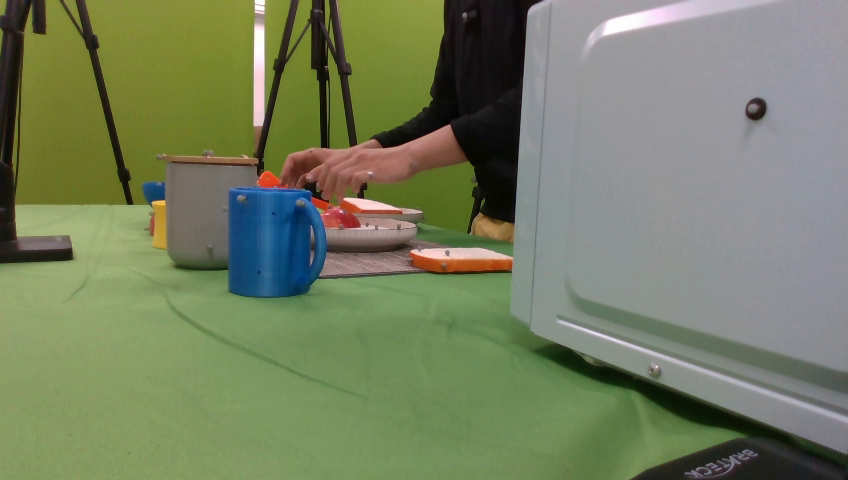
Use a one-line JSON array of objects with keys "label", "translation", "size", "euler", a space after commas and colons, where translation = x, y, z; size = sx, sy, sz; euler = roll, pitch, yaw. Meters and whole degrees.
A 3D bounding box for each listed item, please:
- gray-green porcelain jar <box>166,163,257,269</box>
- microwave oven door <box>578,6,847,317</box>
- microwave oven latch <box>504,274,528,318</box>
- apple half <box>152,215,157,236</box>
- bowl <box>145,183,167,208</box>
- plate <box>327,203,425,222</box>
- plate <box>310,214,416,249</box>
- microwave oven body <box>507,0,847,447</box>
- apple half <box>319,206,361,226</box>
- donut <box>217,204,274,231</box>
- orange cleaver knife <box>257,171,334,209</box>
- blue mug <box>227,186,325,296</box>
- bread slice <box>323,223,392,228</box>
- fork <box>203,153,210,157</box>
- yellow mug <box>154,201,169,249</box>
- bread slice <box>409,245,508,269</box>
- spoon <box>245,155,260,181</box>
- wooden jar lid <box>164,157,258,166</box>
[{"label": "gray-green porcelain jar", "translation": [-0.263, -0.031, 0.754], "size": [0.106, 0.126, 0.106], "euler": [2, 7, 0]}, {"label": "microwave oven door", "translation": [0.294, -0.067, 0.570], "size": [0.358, 0.243, 0.039], "euler": [-3, 9, -31]}, {"label": "microwave oven latch", "translation": [0.100, 0.041, 0.470], "size": [0.079, 0.029, 0.030], "euler": [-1, 7, -27]}, {"label": "apple half", "translation": [-0.415, -0.034, 1.017], "size": [0.081, 0.053, 0.074], "euler": [1, 10, -9]}, {"label": "bowl", "translation": [-0.459, -0.069, 1.175], "size": [0.151, 0.077, 0.151], "euler": [3, 7, 0]}, {"label": "plate", "translation": [-0.102, -0.053, 1.299], "size": [0.209, 0.038, 0.209], "euler": [2, 8, 0]}, {"label": "plate", "translation": [-0.117, -0.014, 0.967], "size": [0.208, 0.039, 0.207], "euler": [2, 7, 0]}, {"label": "microwave oven body", "translation": [0.331, -0.042, 0.425], "size": [0.444, 0.260, 0.324], "euler": [-2, 8, -31]}, {"label": "apple half", "translation": [-0.141, -0.040, 1.001], "size": [0.081, 0.033, 0.081], "euler": [0, 6, 0]}, {"label": "donut", "translation": [-0.318, -0.038, 1.080], "size": [0.099, 0.048, 0.099], "euler": [3, 7, 0]}, {"label": "orange cleaver knife", "translation": [-0.283, -0.087, 1.343], "size": [0.212, 0.077, 0.012], "euler": [24, -16, -41]}, {"label": "blue mug", "translation": [-0.147, 0.000, 0.618], "size": [0.116, 0.106, 0.083], "euler": [7, 9, 32]}, {"label": "bread slice", "translation": [-0.116, -0.015, 0.974], "size": [0.135, 0.018, 0.106], "euler": [-3, 8, -42]}, {"label": "fork", "translation": [-0.480, -0.135, 1.411], "size": [0.028, 0.018, 0.207], "euler": [1, -34, 0]}, {"label": "yellow mug", "translation": [-0.337, -0.022, 0.899], "size": [0.130, 0.064, 0.100], "euler": [8, 9, 34]}, {"label": "bread slice", "translation": [0.048, 0.021, 0.816], "size": [0.132, 0.019, 0.104], "euler": [0, 7, -24]}, {"label": "spoon", "translation": [-0.421, -0.150, 1.540], "size": [0.042, 0.021, 0.193], "euler": [-5, 55, -37]}, {"label": "wooden jar lid", "translation": [-0.261, -0.093, 0.746], "size": [0.108, 0.020, 0.108], "euler": [0, 9, 0]}]
